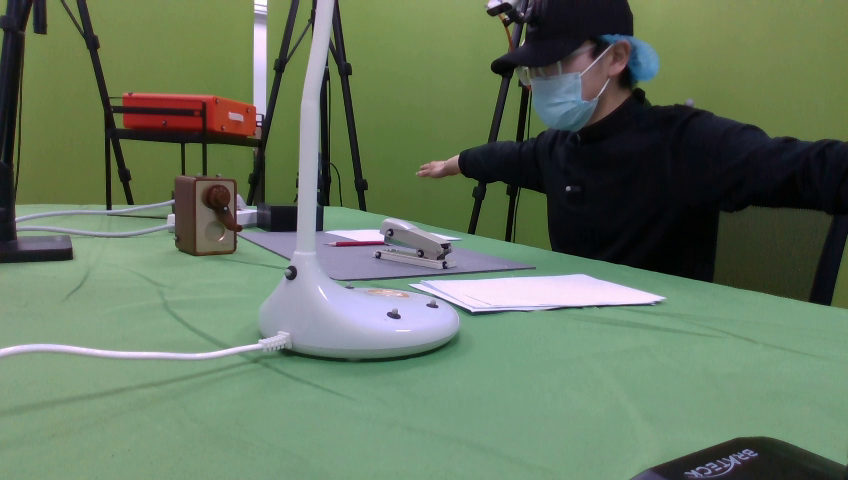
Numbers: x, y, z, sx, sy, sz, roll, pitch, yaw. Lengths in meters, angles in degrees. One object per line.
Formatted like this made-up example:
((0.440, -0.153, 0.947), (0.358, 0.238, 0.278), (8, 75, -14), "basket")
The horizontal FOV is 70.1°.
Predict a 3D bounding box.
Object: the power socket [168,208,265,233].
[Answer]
((-0.381, -0.038, 1.129), (0.072, 0.032, 0.227), (4, 8, 17), "power socket")

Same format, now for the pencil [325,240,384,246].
((-0.066, 0.003, 0.979), (0.195, 0.012, 0.012), (-3, 9, -25), "pencil")

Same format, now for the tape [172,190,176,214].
((-0.515, -0.087, 1.388), (0.117, 0.052, 0.117), (3, 7, 0), "tape")

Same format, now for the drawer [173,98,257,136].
((-0.518, -0.279, 1.376), (0.211, 0.073, 0.195), (3, 8, 10), "drawer")

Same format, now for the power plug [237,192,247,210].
((-0.386, -0.071, 1.204), (0.072, 0.052, 0.035), (7, 8, 26), "power plug")

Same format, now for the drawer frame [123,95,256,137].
((-0.524, -0.281, 1.376), (0.213, 0.082, 0.202), (3, 8, 8), "drawer frame")

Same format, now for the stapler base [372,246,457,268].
((-0.016, 0.017, 0.831), (0.130, 0.024, 0.041), (10, 12, 39), "stapler base")

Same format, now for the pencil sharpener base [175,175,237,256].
((-0.304, -0.036, 0.847), (0.062, 0.107, 0.076), (-4, 10, -42), "pencil sharpener base")

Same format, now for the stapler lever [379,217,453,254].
((-0.014, -0.007, 0.827), (0.117, 0.040, 0.027), (9, 11, 39), "stapler lever")

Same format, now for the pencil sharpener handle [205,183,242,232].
((-0.265, -0.043, 0.812), (0.036, 0.068, 0.030), (-32, 28, -35), "pencil sharpener handle")

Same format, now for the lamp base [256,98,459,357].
((-0.055, -0.013, 0.463), (0.160, 0.180, 0.180), (6, 11, 27), "lamp base")
